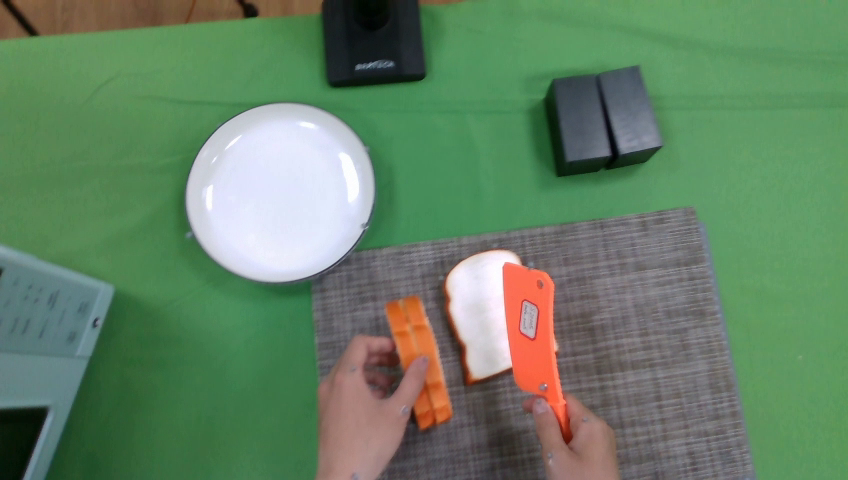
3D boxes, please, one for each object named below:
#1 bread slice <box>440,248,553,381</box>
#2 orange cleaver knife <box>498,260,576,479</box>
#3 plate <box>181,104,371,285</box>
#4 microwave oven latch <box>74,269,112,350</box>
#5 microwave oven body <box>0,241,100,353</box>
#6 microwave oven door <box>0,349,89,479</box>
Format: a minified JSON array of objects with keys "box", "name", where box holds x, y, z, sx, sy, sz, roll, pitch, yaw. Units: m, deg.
[{"box":[0.077,0.077,0.670,0.107,0.018,0.134,-15,87,-10],"name":"bread slice"},{"box":[0.107,0.122,0.586,0.012,0.077,0.211,-10,91,-34],"name":"orange cleaver knife"},{"box":[-0.162,-0.049,0.682,0.208,0.039,0.206,1,78,-2],"name":"plate"},{"box":[-0.354,0.073,0.631,0.030,0.029,0.079,16,78,2],"name":"microwave oven latch"},{"box":[-0.540,0.181,0.503,0.326,0.261,0.440,15,78,1],"name":"microwave oven body"},{"box":[-0.409,0.256,0.486,0.039,0.245,0.354,14,77,2],"name":"microwave oven door"}]
